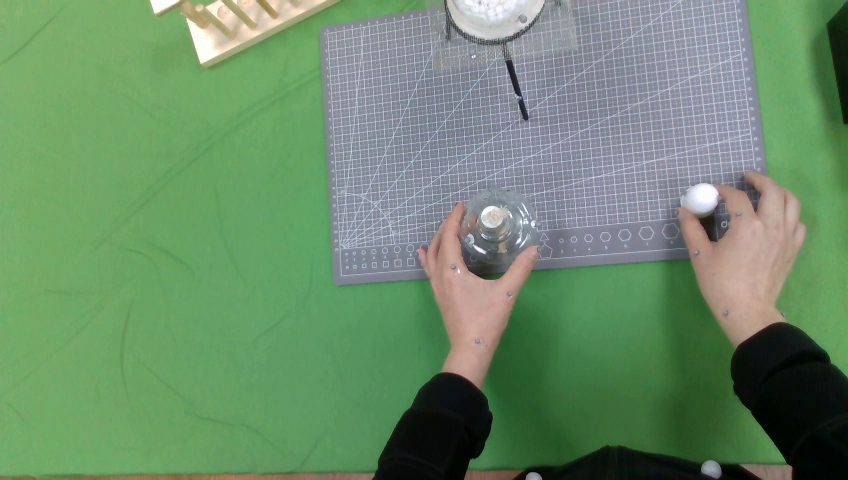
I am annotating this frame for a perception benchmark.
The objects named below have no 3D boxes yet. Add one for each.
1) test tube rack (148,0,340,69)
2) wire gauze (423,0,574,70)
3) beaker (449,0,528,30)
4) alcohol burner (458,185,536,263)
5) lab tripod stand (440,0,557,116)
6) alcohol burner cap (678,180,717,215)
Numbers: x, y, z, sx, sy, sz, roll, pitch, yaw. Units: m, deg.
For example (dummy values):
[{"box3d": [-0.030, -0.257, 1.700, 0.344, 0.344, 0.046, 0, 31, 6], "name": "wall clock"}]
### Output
[{"box3d": [-0.178, -0.287, 0.680, 0.242, 0.085, 0.066, -23, 80, 11], "name": "test tube rack"}, {"box3d": [0.060, -0.213, 0.522, 0.125, 0.011, 0.121, -6, 88, 10], "name": "wire gauze"}, {"box3d": [0.044, -0.217, 0.476, 0.083, 0.100, 0.074, 8, 88, 14], "name": "beaker"}, {"box3d": [0.069, -0.017, 0.583, 0.078, 0.119, 0.077, -1, 84, 12], "name": "alcohol burner"}, {"box3d": [0.075, -0.206, 0.585, 0.148, 0.132, 0.148, -1, 86, 12], "name": "lab tripod stand"}, {"box3d": [0.261, -0.042, 0.574, 0.034, 0.048, 0.034, -1, 86, 17], "name": "alcohol burner cap"}]
